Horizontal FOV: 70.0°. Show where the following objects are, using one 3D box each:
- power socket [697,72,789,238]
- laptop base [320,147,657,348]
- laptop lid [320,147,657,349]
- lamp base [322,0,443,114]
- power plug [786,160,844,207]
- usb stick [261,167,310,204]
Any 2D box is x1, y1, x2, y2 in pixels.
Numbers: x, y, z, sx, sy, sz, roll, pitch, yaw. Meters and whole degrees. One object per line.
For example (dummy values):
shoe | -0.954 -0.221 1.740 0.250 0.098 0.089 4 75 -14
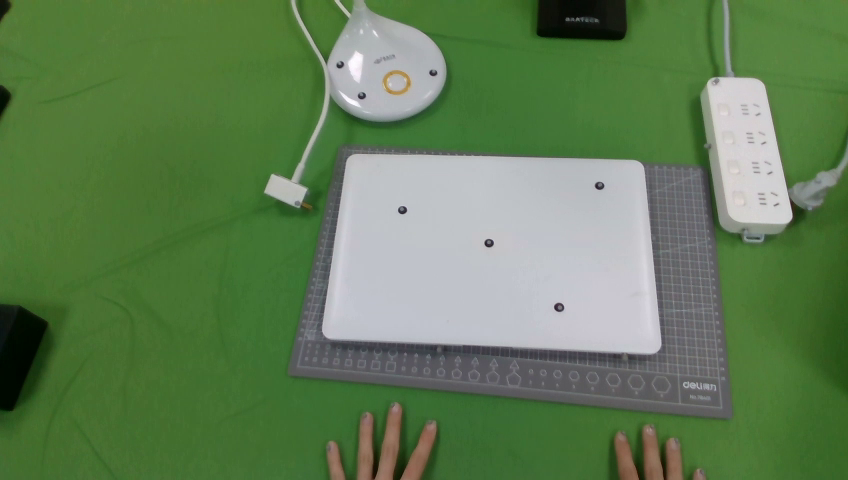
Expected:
power socket | 0.373 -0.109 0.716 0.072 0.033 0.225 4 64 3
laptop base | 0.071 0.003 0.683 0.354 0.023 0.234 2 67 4
laptop lid | 0.070 -0.001 0.672 0.356 0.013 0.240 3 66 5
lamp base | -0.066 -0.276 0.739 0.160 0.182 0.177 -31 63 -12
power plug | 0.442 -0.058 0.683 0.073 0.053 0.035 -9 58 -19
usb stick | -0.160 -0.062 0.717 0.059 0.021 0.027 28 96 -10
